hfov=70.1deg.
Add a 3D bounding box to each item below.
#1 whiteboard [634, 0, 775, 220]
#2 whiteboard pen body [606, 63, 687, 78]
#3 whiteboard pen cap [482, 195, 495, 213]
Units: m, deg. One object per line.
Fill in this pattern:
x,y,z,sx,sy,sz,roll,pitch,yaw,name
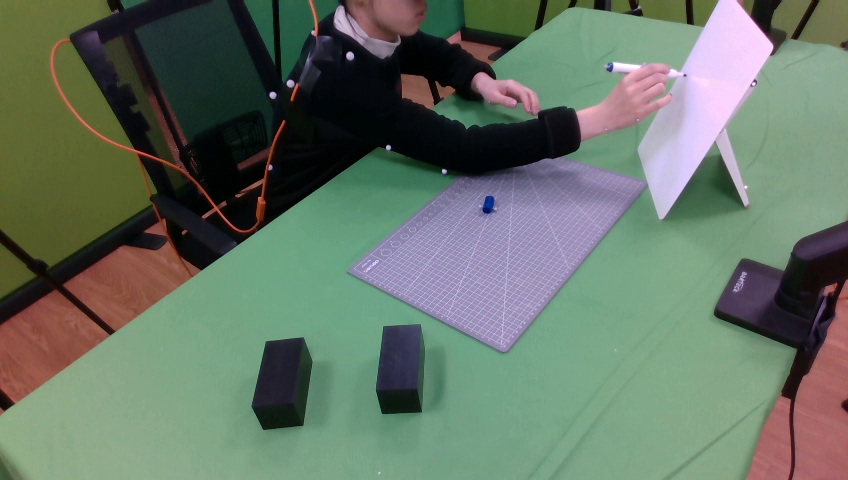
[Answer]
0.485,-0.192,0.956,0.144,0.305,0.216,14,41,-4,whiteboard
0.363,-0.274,0.981,0.141,0.017,0.017,2,39,-10,whiteboard pen body
0.109,-0.060,1.028,0.018,0.018,0.033,6,45,16,whiteboard pen cap
